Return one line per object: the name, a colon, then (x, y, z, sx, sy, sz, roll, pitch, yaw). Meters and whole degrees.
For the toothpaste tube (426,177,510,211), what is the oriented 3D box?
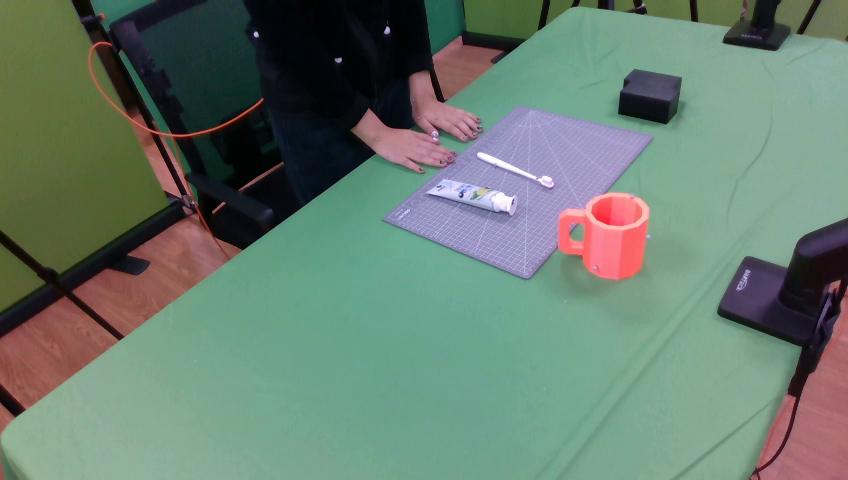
toothpaste tube: (0.083, -0.081, 1.054, 0.164, 0.034, 0.055, 18, 40, 34)

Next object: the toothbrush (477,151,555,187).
toothbrush: (0.164, -0.133, 1.107, 0.180, 0.017, 0.014, 30, 68, 39)

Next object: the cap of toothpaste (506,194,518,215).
cap of toothpaste: (0.146, -0.060, 1.008, 0.011, 0.037, 0.037, 14, 46, 22)

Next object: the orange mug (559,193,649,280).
orange mug: (0.261, -0.008, 0.884, 0.126, 0.101, 0.083, 9, 43, 14)
